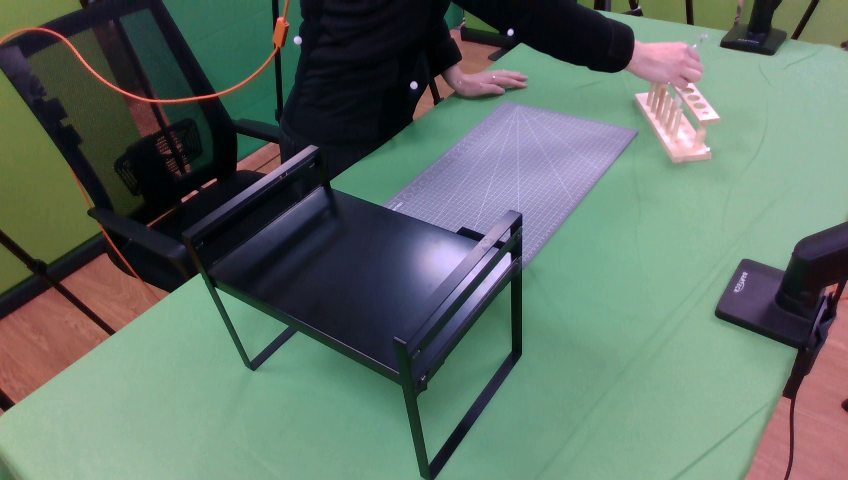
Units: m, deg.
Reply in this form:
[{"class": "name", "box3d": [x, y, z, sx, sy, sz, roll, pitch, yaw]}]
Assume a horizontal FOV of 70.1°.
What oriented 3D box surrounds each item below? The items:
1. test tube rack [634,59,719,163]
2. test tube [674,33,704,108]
[{"class": "test tube rack", "box3d": [0.471, -0.250, 1.148, 0.067, 0.085, 0.241, -6, 40, 3]}, {"class": "test tube", "box3d": [0.485, -0.309, 1.112, 0.017, 0.151, 0.017, -1, 46, 1]}]
